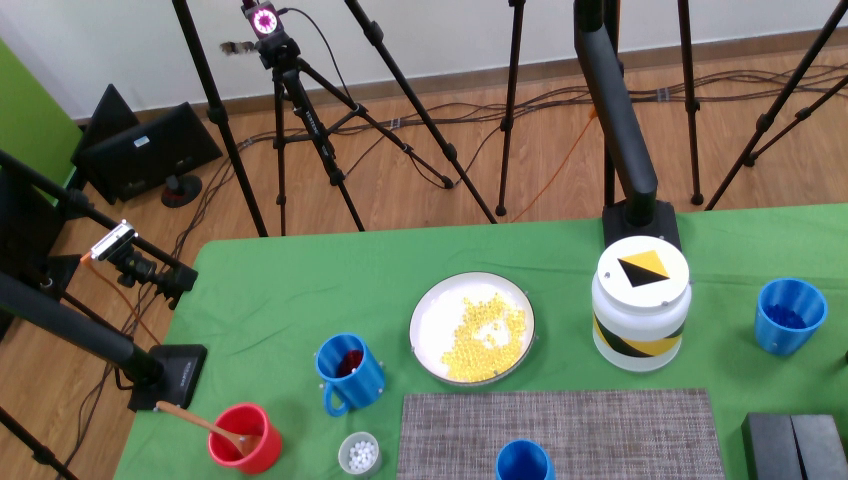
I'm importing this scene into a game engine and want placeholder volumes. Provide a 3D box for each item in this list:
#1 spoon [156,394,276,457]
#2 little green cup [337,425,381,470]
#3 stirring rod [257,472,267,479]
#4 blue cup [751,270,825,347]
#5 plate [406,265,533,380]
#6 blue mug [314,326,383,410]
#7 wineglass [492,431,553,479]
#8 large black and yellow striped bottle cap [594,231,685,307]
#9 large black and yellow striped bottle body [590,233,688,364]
[{"bbox_3d":[-0.316,0.279,0.926,0.195,0.021,0.041,33,60,-16],"label":"spoon"},{"bbox_3d":[-0.095,0.314,0.909,0.061,0.039,0.061,-7,54,11],"label":"little green cup"},{"bbox_3d":[-0.234,0.400,0.808,0.014,0.006,0.174,-5,54,12],"label":"stirring rod"},{"bbox_3d":[0.508,0.105,0.860,0.092,0.101,0.092,-8,53,12],"label":"blue cup"},{"bbox_3d":[0.075,0.136,0.994,0.209,0.038,0.207,-7,54,10],"label":"plate"},{"bbox_3d":[-0.124,0.210,0.950,0.082,0.107,0.116,13,59,24],"label":"blue mug"},{"bbox_3d":[0.129,0.301,0.766,0.073,0.174,0.073,-7,53,10],"label":"wineglass"},{"bbox_3d":[0.287,0.036,0.810,0.115,0.019,0.114,-7,52,9],"label":"large black and yellow striped bottle cap"},{"bbox_3d":[0.307,0.085,0.876,0.130,0.186,0.129,-7,53,10],"label":"large black and yellow striped bottle body"}]
